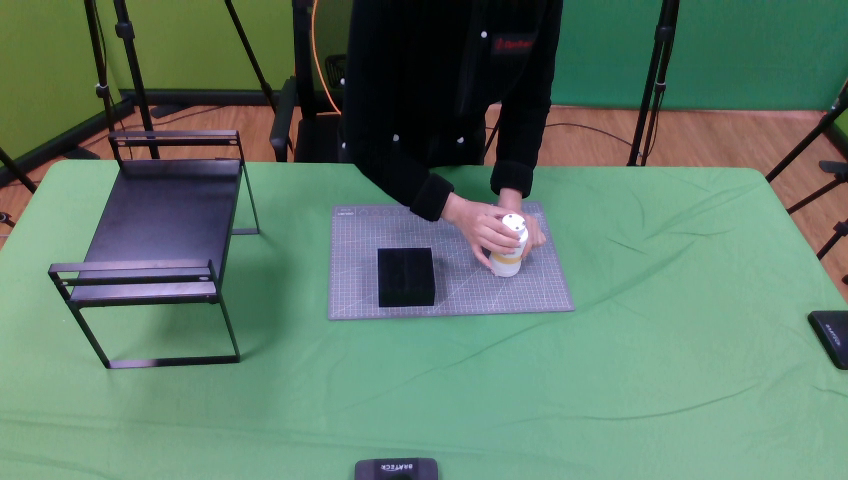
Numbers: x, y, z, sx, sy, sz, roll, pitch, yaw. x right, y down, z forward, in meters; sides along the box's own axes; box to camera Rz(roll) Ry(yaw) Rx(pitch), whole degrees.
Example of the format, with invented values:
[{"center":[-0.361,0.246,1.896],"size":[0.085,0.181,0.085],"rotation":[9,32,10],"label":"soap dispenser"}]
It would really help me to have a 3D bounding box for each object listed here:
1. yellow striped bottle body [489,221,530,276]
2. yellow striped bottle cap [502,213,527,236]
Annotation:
[{"center":[0.160,0.007,1.127],"size":[0.063,0.121,0.062],"rotation":[2,49,-3],"label":"yellow striped bottle body"},{"center":[0.163,-0.028,1.089],"size":[0.044,0.019,0.044],"rotation":[3,48,-3],"label":"yellow striped bottle cap"}]
